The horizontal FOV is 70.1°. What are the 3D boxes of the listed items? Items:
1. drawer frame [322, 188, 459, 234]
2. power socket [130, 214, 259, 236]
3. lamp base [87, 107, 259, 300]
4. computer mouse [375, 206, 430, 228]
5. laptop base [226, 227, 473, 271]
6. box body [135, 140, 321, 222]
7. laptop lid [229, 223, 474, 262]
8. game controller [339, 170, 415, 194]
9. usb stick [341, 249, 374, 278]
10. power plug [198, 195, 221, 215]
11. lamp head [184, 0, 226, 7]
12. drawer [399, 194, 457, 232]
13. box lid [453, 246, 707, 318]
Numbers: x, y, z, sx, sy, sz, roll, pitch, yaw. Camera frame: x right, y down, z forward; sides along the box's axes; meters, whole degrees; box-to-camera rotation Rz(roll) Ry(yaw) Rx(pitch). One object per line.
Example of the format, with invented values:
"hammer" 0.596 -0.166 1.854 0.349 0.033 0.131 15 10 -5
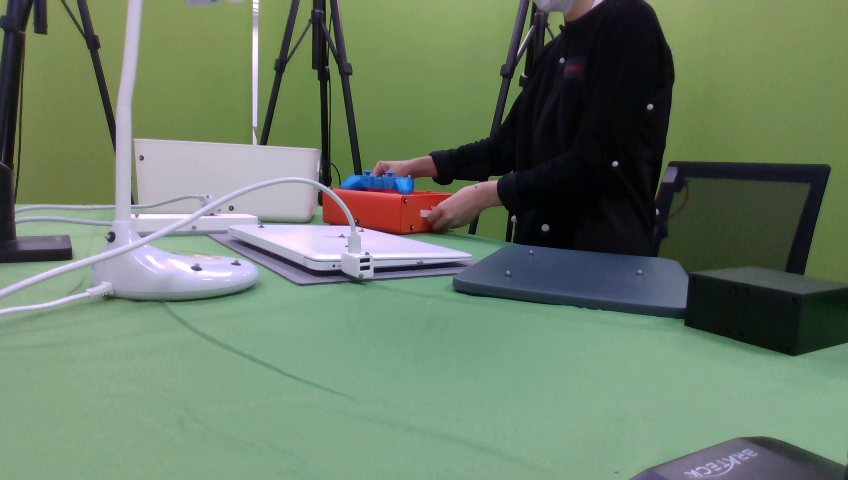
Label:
"drawer frame" -0.069 -0.067 1.277 0.212 0.082 0.203 7 9 35
"power socket" -0.397 -0.028 1.048 0.228 0.032 0.072 -3 7 -35
"lamp base" -0.254 -0.039 0.604 0.160 0.180 0.179 5 10 18
"computer mouse" -0.044 -0.047 1.258 0.062 0.041 0.118 13 15 42
"laptop base" -0.124 0.011 0.889 0.237 0.023 0.352 2 6 -35
"box body" -0.420 -0.133 1.354 0.365 0.160 0.253 2 7 -8
"laptop lid" -0.121 0.000 0.888 0.243 0.013 0.355 1 7 -33
"game controller" -0.094 -0.120 1.283 0.155 0.051 0.097 5 4 9
"usb stick" -0.079 0.026 0.687 0.021 0.027 0.059 -7 9 -31
"power plug" -0.386 -0.055 1.088 0.035 0.052 0.072 -2 7 -24
"lamp head" -0.229 -0.320 0.627 0.112 0.112 0.123 6 -36 26
"drawer" -0.067 -0.066 1.279 0.211 0.073 0.195 7 9 34
"box lid" 0.204 0.044 0.780 0.262 0.015 0.372 5 7 17
